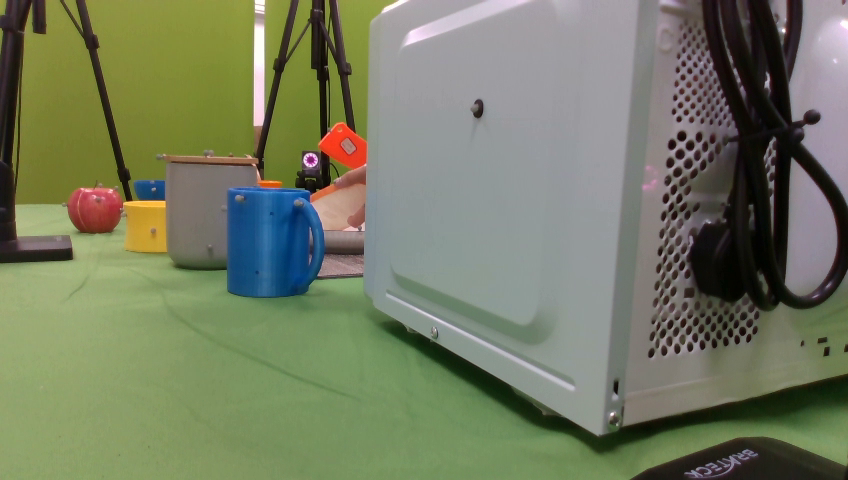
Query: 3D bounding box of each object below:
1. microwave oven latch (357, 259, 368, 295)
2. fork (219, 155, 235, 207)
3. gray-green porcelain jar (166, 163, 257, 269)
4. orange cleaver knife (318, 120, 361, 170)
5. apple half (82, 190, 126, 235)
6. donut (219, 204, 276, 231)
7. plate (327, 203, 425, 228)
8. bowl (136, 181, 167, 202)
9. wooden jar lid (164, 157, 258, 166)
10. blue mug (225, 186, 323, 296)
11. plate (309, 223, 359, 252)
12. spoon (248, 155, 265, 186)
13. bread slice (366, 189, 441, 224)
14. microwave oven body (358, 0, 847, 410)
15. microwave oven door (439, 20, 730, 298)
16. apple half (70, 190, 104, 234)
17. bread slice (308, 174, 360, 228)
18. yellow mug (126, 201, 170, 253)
[{"bbox_3d":[-0.019,0.031,0.529,0.079,0.029,0.030,-1,7,-26],"label":"microwave oven latch"},{"bbox_3d":[-0.459,-0.134,1.415,0.028,0.018,0.207,-1,-34,-24],"label":"fork"},{"bbox_3d":[-0.263,-0.031,0.754,0.106,0.126,0.106,2,7,0],"label":"gray-green porcelain jar"},{"bbox_3d":[-0.117,-0.177,1.226,0.212,0.077,0.012,19,16,-41],"label":"orange cleaver knife"},{"bbox_3d":[-0.516,-0.046,0.994,0.032,0.081,0.081,0,6,26],"label":"apple half"},{"bbox_3d":[-0.316,-0.039,1.083,0.099,0.048,0.099,2,7,0],"label":"donut"},{"bbox_3d":[-0.102,-0.053,1.299,0.209,0.038,0.209,2,8,0],"label":"plate"},{"bbox_3d":[-0.497,-0.076,1.221,0.151,0.077,0.151,2,8,0],"label":"bowl"},{"bbox_3d":[-0.261,-0.093,0.746,0.108,0.020,0.108,0,9,0],"label":"wooden jar lid"},{"bbox_3d":[-0.148,0.000,0.618,0.116,0.106,0.083,7,9,33],"label":"blue mug"},{"bbox_3d":[-0.130,-0.012,0.945,0.208,0.039,0.207,2,8,0],"label":"plate"},{"bbox_3d":[-0.417,-0.150,1.543,0.042,0.193,0.021,-4,-35,-34],"label":"spoon"},{"bbox_3d":[-0.046,-0.063,1.137,0.107,0.018,0.134,-8,-15,-40],"label":"bread slice"},{"bbox_3d":[0.210,-0.051,0.471,0.444,0.260,0.324,-1,7,-28],"label":"microwave oven body"},{"bbox_3d":[0.181,-0.076,0.618,0.358,0.243,0.039,-2,8,-28],"label":"microwave oven door"},{"bbox_3d":[-0.552,-0.047,1.010,0.053,0.074,0.081,0,10,26],"label":"apple half"},{"bbox_3d":[-0.125,-0.057,0.953,0.131,0.019,0.105,-26,-33,20],"label":"bread slice"},{"bbox_3d":[-0.361,-0.019,0.866,0.130,0.064,0.100,7,9,27],"label":"yellow mug"}]
